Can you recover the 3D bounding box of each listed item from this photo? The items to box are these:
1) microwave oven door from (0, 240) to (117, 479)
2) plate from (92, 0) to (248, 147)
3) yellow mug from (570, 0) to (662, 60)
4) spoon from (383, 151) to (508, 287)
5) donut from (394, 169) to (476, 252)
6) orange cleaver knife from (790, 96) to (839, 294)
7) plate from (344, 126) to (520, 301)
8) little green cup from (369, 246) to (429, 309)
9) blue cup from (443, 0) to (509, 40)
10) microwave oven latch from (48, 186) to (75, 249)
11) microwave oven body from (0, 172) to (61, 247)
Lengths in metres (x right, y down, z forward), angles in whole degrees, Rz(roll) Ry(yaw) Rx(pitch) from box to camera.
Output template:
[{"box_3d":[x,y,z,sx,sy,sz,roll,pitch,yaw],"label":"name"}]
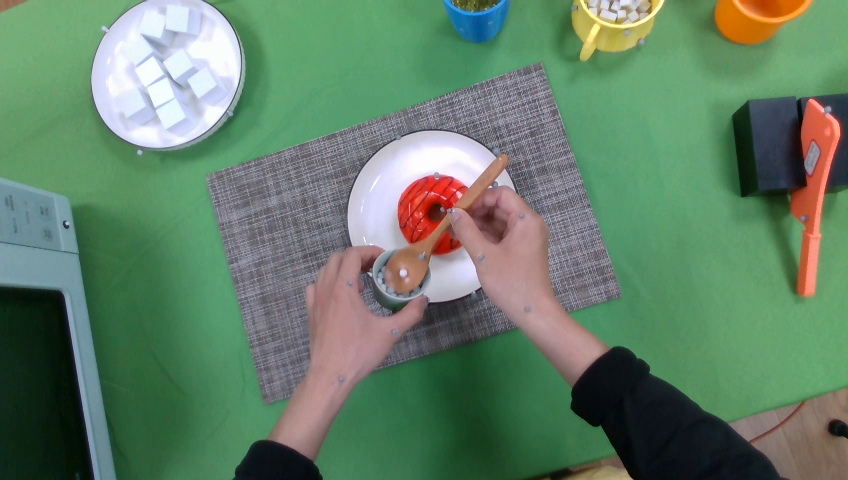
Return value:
[{"box_3d":[-0.432,0.172,0.639,0.039,0.244,0.354,-15,82,5],"label":"microwave oven door"},{"box_3d":[-0.326,-0.219,0.789,0.207,0.039,0.207,-1,84,7],"label":"plate"},{"box_3d":[0.217,-0.271,0.711,0.099,0.064,0.131,31,89,9],"label":"yellow mug"},{"box_3d":[0.018,-0.016,0.578,0.041,0.021,0.194,49,130,7],"label":"spoon"},{"box_3d":[0.013,-0.034,0.711,0.099,0.048,0.099,-1,85,8],"label":"donut"},{"box_3d":[0.414,-0.045,0.654,0.012,0.077,0.213,-2,113,9],"label":"orange cleaver knife"},{"box_3d":[0.010,-0.031,0.723,0.209,0.038,0.208,-1,84,7],"label":"plate"},{"box_3d":[-0.028,0.041,0.632,0.062,0.039,0.061,6,58,-9],"label":"little green cup"},{"box_3d":[0.062,-0.285,0.715,0.092,0.100,0.092,-1,85,6],"label":"blue cup"},{"box_3d":[-0.468,-0.027,0.768,0.030,0.029,0.079,-13,83,5],"label":"microwave oven latch"},{"box_3d":[-0.582,0.168,0.664,0.326,0.261,0.440,-14,83,5],"label":"microwave oven body"}]
